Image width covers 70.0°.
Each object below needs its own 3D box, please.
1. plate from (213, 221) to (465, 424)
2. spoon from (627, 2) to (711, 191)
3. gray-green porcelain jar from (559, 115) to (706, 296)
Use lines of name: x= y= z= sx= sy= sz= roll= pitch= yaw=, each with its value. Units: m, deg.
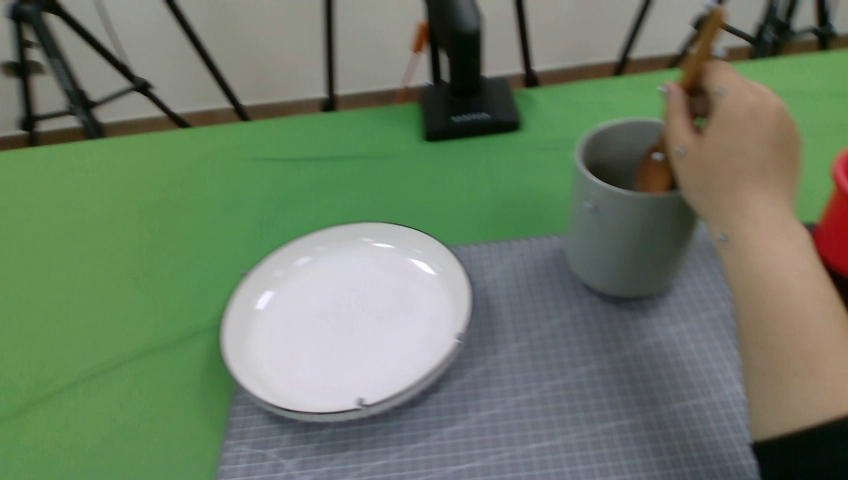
plate: x=-0.069 y=0.066 z=0.513 sx=0.207 sy=0.039 sz=0.205 roll=-3 pitch=44 yaw=3
spoon: x=0.177 y=-0.091 z=0.446 sx=0.021 sy=0.195 sz=0.041 roll=-18 pitch=61 yaw=0
gray-green porcelain jar: x=0.169 y=-0.024 z=0.511 sx=0.106 sy=0.128 sz=0.105 roll=-4 pitch=44 yaw=4
